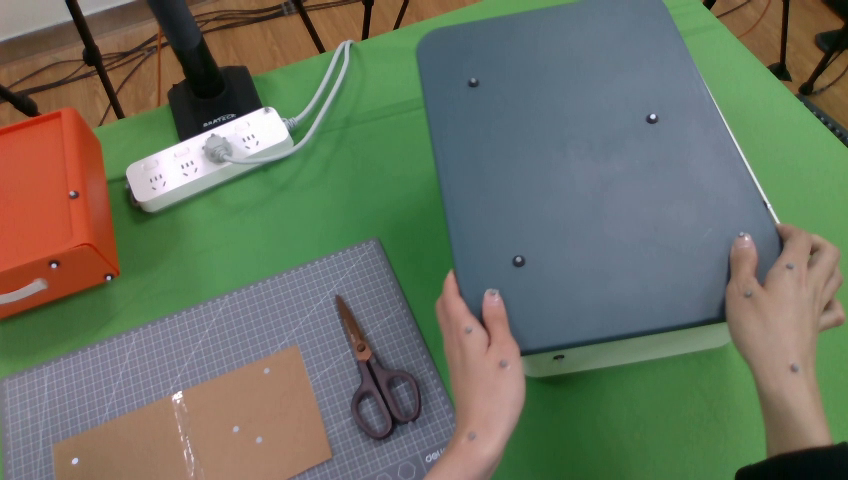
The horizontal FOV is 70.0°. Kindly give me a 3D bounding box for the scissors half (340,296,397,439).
[{"bbox_3d":[-0.070,0.134,0.663,0.040,0.013,0.173,-30,61,16],"label":"scissors half"}]

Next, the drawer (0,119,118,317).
[{"bbox_3d":[-0.468,-0.022,0.684,0.195,0.074,0.209,-20,60,-8],"label":"drawer"}]

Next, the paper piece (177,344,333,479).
[{"bbox_3d":[-0.179,0.190,0.632,0.135,0.004,0.134,-21,61,-9],"label":"paper piece"}]

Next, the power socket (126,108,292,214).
[{"bbox_3d":[-0.283,-0.106,0.802,0.227,0.033,0.071,-26,62,-12],"label":"power socket"}]

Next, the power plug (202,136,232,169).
[{"bbox_3d":[-0.262,-0.101,0.771,0.035,0.053,0.072,-17,60,-7],"label":"power plug"}]

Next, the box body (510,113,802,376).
[{"bbox_3d":[0.183,-0.051,0.667,0.254,0.162,0.360,-9,59,-2],"label":"box body"}]

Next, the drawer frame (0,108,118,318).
[{"bbox_3d":[-0.471,-0.024,0.684,0.202,0.083,0.211,-21,60,-8],"label":"drawer frame"}]

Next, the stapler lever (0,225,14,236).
[{"bbox_3d":[-0.483,-0.003,0.664,0.118,0.040,0.026,5,76,11],"label":"stapler lever"}]

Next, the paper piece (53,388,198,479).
[{"bbox_3d":[-0.301,0.239,0.612,0.136,0.009,0.137,-23,62,-6],"label":"paper piece"}]

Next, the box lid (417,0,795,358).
[{"bbox_3d":[0.140,-0.082,0.555,0.263,0.015,0.368,-11,60,3],"label":"box lid"}]

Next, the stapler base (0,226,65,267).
[{"bbox_3d":[-0.477,0.003,0.689,0.130,0.024,0.041,5,76,9],"label":"stapler base"}]

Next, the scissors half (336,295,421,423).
[{"bbox_3d":[-0.054,0.123,0.660,0.040,0.013,0.173,-42,60,3],"label":"scissors half"}]
